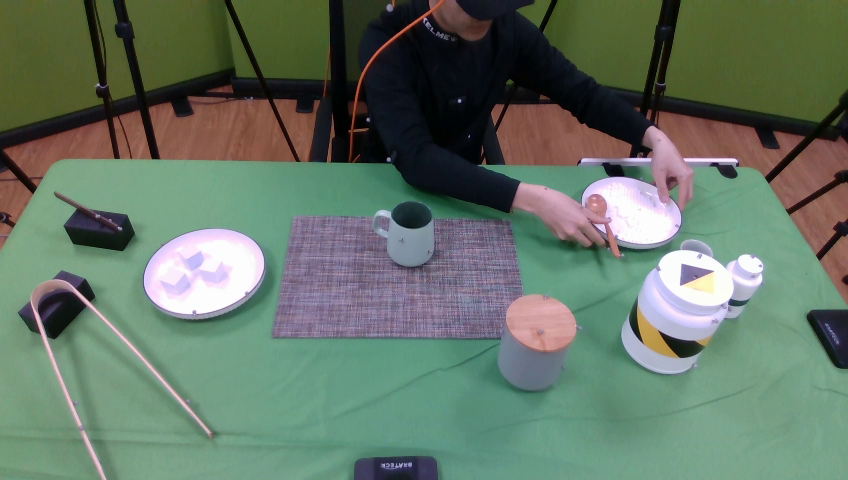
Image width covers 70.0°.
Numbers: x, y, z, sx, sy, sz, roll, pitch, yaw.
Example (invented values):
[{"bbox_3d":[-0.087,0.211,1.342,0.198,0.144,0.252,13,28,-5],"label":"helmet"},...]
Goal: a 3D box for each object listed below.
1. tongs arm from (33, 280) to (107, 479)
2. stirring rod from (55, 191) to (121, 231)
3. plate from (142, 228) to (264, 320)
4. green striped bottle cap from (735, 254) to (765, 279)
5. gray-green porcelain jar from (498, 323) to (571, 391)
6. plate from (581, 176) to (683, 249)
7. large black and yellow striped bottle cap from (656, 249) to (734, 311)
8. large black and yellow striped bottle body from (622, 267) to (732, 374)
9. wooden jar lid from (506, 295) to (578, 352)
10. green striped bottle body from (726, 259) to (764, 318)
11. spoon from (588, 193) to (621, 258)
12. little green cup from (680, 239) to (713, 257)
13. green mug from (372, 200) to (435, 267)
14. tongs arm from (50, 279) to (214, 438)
[{"bbox_3d":[-0.517,0.214,0.910,0.051,0.026,0.383,-28,63,-27],"label":"tongs arm"},{"bbox_3d":[-0.632,-0.055,1.138,0.175,0.014,0.006,24,50,19],"label":"stirring rod"},{"bbox_3d":[-0.394,0.064,1.095,0.208,0.039,0.206,2,46,-2],"label":"plate"},{"bbox_3d":[0.566,0.046,1.051,0.044,0.020,0.044,0,45,0],"label":"green striped bottle cap"},{"bbox_3d":[0.176,0.172,0.971,0.106,0.127,0.105,2,46,-2],"label":"gray-green porcelain jar"},{"bbox_3d":[0.430,-0.055,1.267,0.209,0.038,0.208,2,46,-2],"label":"plate"},{"bbox_3d":[0.419,0.061,0.938,0.115,0.019,0.114,2,47,-2],"label":"large black and yellow striped bottle cap"},{"bbox_3d":[0.415,0.119,0.997,0.131,0.185,0.130,2,46,-2],"label":"large black and yellow striped bottle body"},{"bbox_3d":[0.179,0.129,0.925,0.108,0.021,0.107,2,43,-2],"label":"wooden jar lid"},{"bbox_3d":[0.563,0.081,1.089,0.063,0.120,0.063,2,46,-2],"label":"green striped bottle body"},{"bbox_3d":[0.367,-0.032,1.220,0.041,0.022,0.192,2,38,-1],"label":"spoon"},{"bbox_3d":[0.530,0.033,1.189,0.061,0.039,0.061,2,48,-2],"label":"little green cup"},{"bbox_3d":[-0.040,-0.016,1.146,0.125,0.105,0.092,17,48,13],"label":"green mug"},{"bbox_3d":[-0.459,0.178,0.949,0.386,0.028,0.028,37,60,17],"label":"tongs arm"}]
